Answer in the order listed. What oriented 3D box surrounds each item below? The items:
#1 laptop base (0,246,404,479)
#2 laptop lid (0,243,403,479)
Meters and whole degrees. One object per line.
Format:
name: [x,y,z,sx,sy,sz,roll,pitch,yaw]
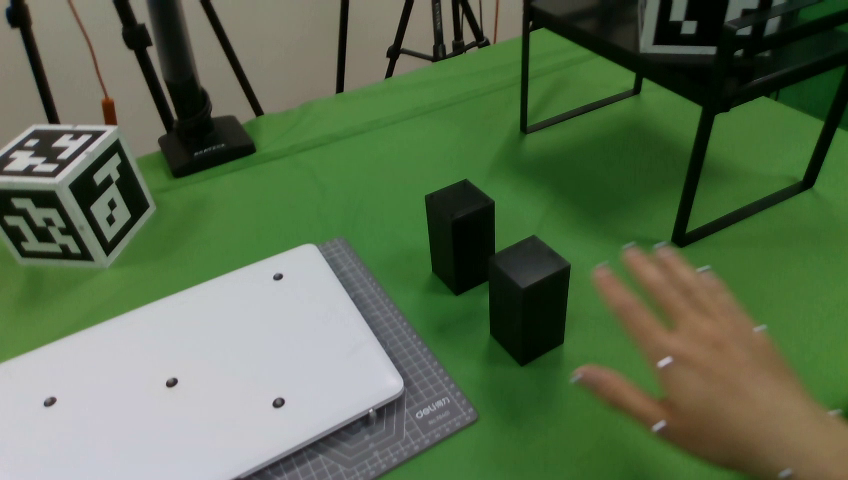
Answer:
laptop base: [-0.223,0.136,0.553,0.355,0.023,0.233,-23,46,-19]
laptop lid: [-0.223,0.128,0.543,0.357,0.013,0.239,-22,44,-18]
